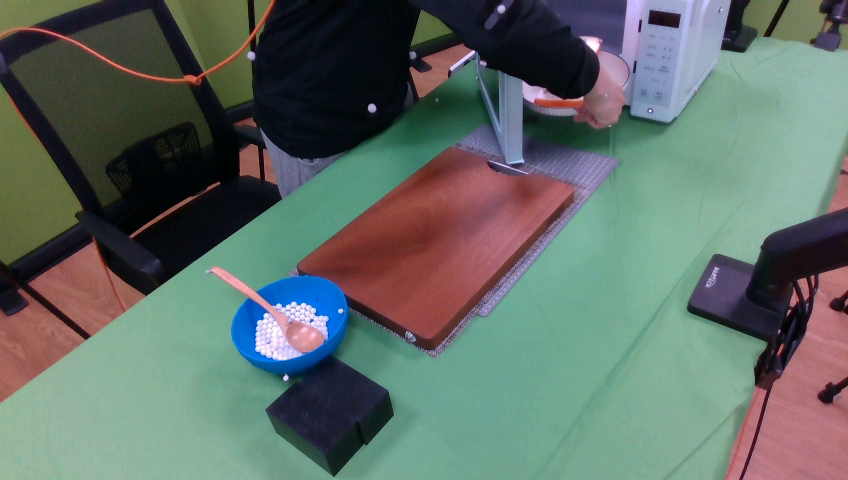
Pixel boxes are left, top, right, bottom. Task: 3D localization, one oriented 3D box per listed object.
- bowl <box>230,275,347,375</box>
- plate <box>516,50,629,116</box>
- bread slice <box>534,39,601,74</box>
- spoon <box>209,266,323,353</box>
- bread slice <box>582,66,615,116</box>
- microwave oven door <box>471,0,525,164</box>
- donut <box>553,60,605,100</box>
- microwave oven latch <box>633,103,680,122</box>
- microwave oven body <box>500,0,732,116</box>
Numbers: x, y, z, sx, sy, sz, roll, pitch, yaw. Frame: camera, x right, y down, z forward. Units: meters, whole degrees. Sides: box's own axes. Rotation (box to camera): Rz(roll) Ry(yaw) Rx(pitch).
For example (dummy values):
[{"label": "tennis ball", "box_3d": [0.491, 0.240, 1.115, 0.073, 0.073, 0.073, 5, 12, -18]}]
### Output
[{"label": "bowl", "box_3d": [-0.171, 0.125, 0.801, 0.151, 0.077, 0.150, -4, 40, 4]}, {"label": "plate", "box_3d": [0.278, -0.292, 1.138, 0.207, 0.039, 0.206, -8, 44, 8]}, {"label": "bread slice", "box_3d": [0.264, -0.334, 1.098, 0.106, 0.018, 0.134, 4, 39, 21]}, {"label": "spoon", "box_3d": [-0.213, 0.087, 0.806, 0.193, 0.021, 0.042, 36, 56, 11]}, {"label": "bread slice", "box_3d": [0.309, -0.289, 1.161, 0.104, 0.019, 0.131, 14, 59, 39]}, {"label": "microwave oven door", "box_3d": [0.136, -0.342, 1.153, 0.039, 0.245, 0.353, -8, 40, -1]}, {"label": "donut", "box_3d": [0.285, -0.297, 1.116, 0.099, 0.048, 0.098, -24, 33, 17]}, {"label": "microwave oven latch", "box_3d": [0.443, -0.249, 1.157, 0.078, 0.029, 0.030, 21, 49, 30]}, {"label": "microwave oven body", "box_3d": [0.377, -0.462, 1.267, 0.438, 0.261, 0.327, 21, 48, 30]}]
